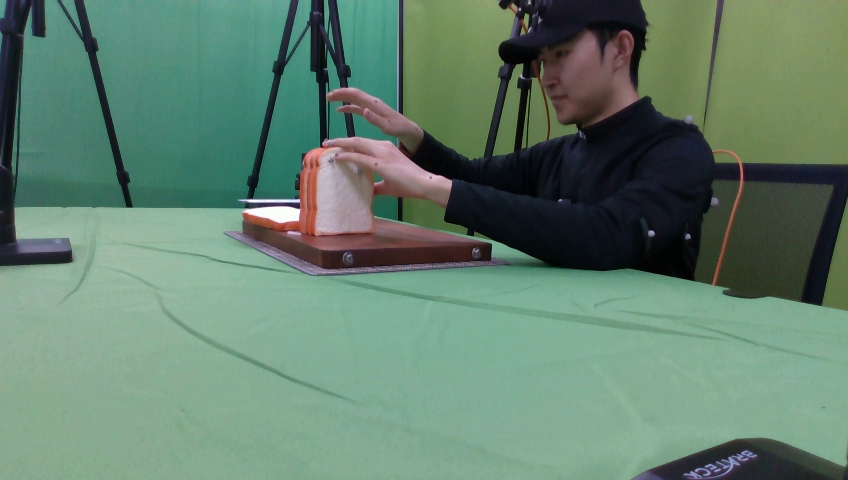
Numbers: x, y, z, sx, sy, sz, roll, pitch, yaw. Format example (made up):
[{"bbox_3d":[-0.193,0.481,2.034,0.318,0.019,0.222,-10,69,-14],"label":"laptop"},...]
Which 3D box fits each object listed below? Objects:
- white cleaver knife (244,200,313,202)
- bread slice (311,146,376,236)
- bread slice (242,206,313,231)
[{"bbox_3d":[-0.256,-0.086,1.295,0.288,0.021,0.065,-2,8,-41],"label":"white cleaver knife"},{"bbox_3d":[-0.123,-0.073,0.906,0.107,0.134,0.018,-8,8,-40],"label":"bread slice"},{"bbox_3d":[-0.233,-0.036,1.000,0.131,0.019,0.105,13,16,40],"label":"bread slice"}]
